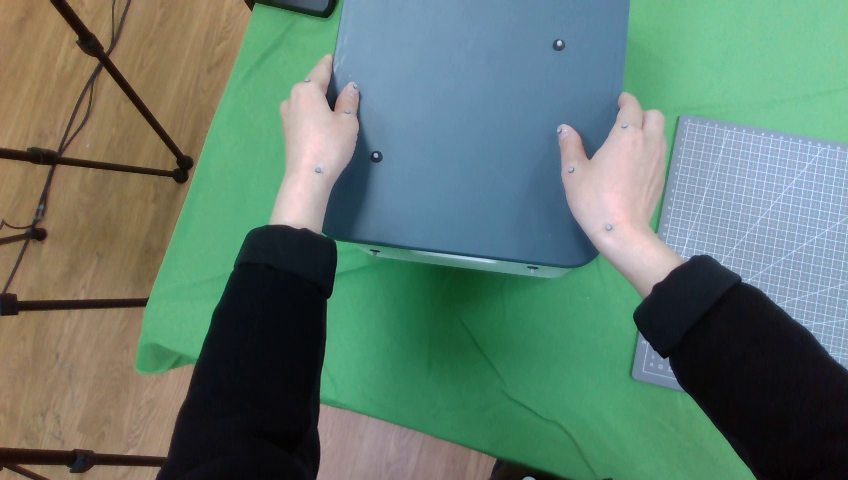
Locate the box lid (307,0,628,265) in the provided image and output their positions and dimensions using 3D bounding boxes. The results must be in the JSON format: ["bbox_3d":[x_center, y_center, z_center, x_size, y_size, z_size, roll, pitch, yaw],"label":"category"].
[{"bbox_3d":[0.045,-0.168,0.550,0.263,0.015,0.370,7,81,6],"label":"box lid"}]

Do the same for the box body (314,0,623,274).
[{"bbox_3d":[0.055,-0.155,0.629,0.254,0.161,0.363,7,81,7],"label":"box body"}]

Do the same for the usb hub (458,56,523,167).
[{"bbox_3d":[0.075,-0.146,0.682,0.049,0.025,0.124,12,76,10],"label":"usb hub"}]
